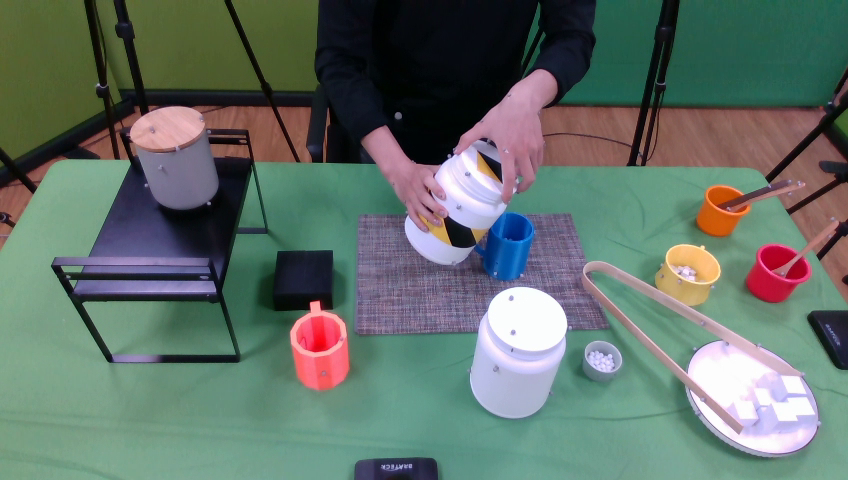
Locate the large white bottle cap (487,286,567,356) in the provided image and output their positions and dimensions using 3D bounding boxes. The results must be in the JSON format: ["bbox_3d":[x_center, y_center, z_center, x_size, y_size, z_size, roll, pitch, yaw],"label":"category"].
[{"bbox_3d":[0.147,0.114,0.869,0.115,0.018,0.114,3,46,-3],"label":"large white bottle cap"}]

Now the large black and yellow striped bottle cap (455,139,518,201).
[{"bbox_3d":[0.102,-0.114,0.978,0.115,0.019,0.114,22,46,-23],"label":"large black and yellow striped bottle cap"}]

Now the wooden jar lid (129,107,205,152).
[{"bbox_3d":[-0.385,-0.163,0.915,0.108,0.021,0.107,2,47,-2],"label":"wooden jar lid"}]

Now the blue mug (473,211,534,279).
[{"bbox_3d":[0.141,0.005,1.139,0.116,0.106,0.082,19,48,13],"label":"blue mug"}]

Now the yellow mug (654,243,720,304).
[{"bbox_3d":[0.504,0.054,1.154,0.099,0.064,0.130,28,49,22],"label":"yellow mug"}]

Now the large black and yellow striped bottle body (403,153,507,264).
[{"bbox_3d":[0.059,-0.060,1.035,0.131,0.184,0.130,20,42,-19],"label":"large black and yellow striped bottle body"}]

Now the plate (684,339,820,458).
[{"bbox_3d":[0.523,0.256,0.982,0.208,0.039,0.206,2,46,-2],"label":"plate"}]

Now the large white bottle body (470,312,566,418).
[{"bbox_3d":[0.143,0.173,0.930,0.131,0.185,0.130,2,46,-2],"label":"large white bottle body"}]

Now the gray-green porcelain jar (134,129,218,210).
[{"bbox_3d":[-0.388,-0.120,0.960,0.106,0.127,0.105,2,46,-2],"label":"gray-green porcelain jar"}]

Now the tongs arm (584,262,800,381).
[{"bbox_3d":[0.451,0.137,1.064,0.051,0.027,0.382,-34,50,-27],"label":"tongs arm"}]

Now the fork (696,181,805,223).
[{"bbox_3d":[0.659,-0.077,1.231,0.207,0.019,0.028,-26,35,34],"label":"fork"}]

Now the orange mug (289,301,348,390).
[{"bbox_3d":[-0.170,0.162,0.976,0.083,0.101,0.125,-8,52,-11],"label":"orange mug"}]

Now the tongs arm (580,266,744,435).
[{"bbox_3d":[0.384,0.173,1.028,0.028,0.028,0.385,-25,46,-15],"label":"tongs arm"}]

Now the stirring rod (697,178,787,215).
[{"bbox_3d":[0.650,-0.088,1.245,0.006,0.176,0.014,29,50,-39],"label":"stirring rod"}]

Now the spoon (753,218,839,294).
[{"bbox_3d":[0.700,0.031,1.138,0.194,0.022,0.041,-47,55,14],"label":"spoon"}]

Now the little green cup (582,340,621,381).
[{"bbox_3d":[0.295,0.204,1.014,0.061,0.039,0.061,2,45,-2],"label":"little green cup"}]
